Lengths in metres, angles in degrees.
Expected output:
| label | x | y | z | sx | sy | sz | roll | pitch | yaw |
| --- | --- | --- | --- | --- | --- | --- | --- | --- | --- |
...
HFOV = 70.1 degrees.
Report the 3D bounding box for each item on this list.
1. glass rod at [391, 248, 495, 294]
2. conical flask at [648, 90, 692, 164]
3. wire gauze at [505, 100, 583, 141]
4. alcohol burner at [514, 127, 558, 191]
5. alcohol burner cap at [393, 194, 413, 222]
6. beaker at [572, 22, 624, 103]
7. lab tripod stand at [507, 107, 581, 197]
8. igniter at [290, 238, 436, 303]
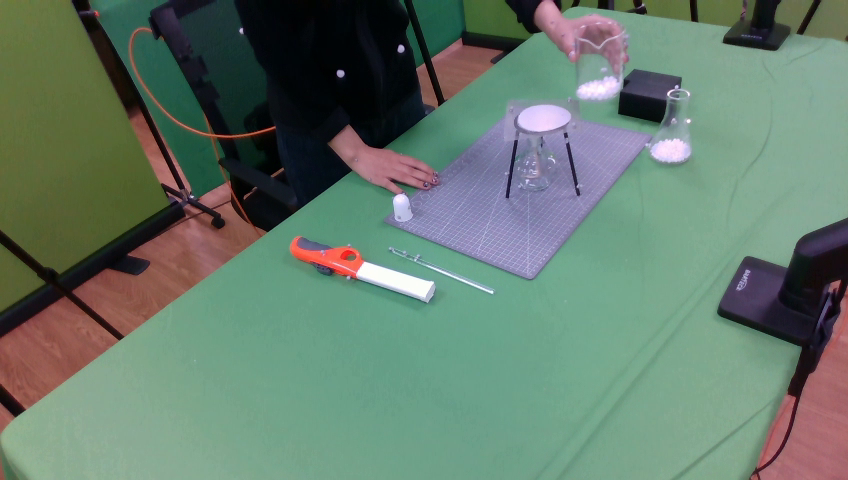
| label | x | y | z | sx | sy | sz | roll | pitch | yaw |
| --- | --- | --- | --- | --- | --- | --- | --- | --- | --- |
| glass rod | 0.026 | 0.045 | 0.936 | 0.198 | 0.008 | 0.008 | 22 | 50 | 32 |
| conical flask | 0.437 | -0.199 | 1.057 | 0.075 | 0.122 | 0.075 | -5 | 40 | 5 |
| wire gauze | 0.194 | -0.200 | 0.987 | 0.121 | 0.011 | 0.124 | -1 | 39 | 11 |
| alcohol burner | 0.192 | -0.145 | 1.043 | 0.078 | 0.119 | 0.077 | -5 | 42 | 5 |
| alcohol burner cap | -0.038 | -0.056 | 1.038 | 0.034 | 0.048 | 0.033 | -5 | 40 | 5 |
| beaker | 0.261 | -0.264 | 0.912 | 0.074 | 0.101 | 0.084 | 1 | 39 | 16 |
| lab tripod stand | 0.201 | -0.151 | 1.033 | 0.148 | 0.132 | 0.147 | -7 | 39 | 6 |
| igniter | -0.106 | 0.044 | 0.949 | 0.274 | 0.025 | 0.057 | 16 | 57 | 28 |
